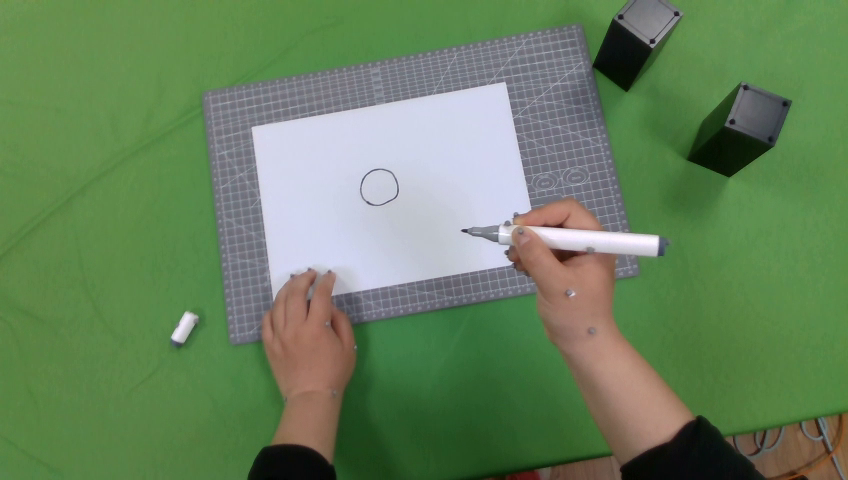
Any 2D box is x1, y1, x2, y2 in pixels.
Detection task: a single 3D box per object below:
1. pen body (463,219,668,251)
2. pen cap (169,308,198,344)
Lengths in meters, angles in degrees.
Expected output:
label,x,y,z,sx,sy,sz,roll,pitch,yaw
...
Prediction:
label,x,y,z,sx,sy,sz,roll,pitch,yaw
pen body,0.098,-0.004,0.435,0.143,0.017,0.017,4,80,18
pen cap,-0.262,0.095,0.660,0.017,0.017,0.038,28,82,8
